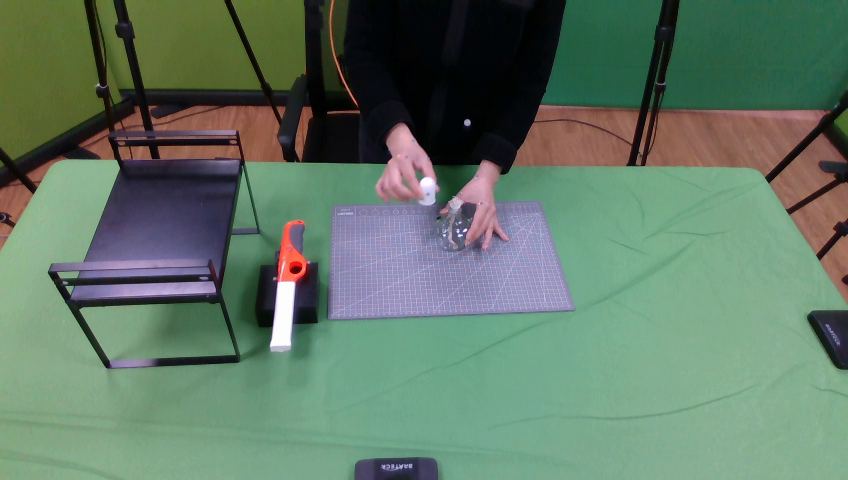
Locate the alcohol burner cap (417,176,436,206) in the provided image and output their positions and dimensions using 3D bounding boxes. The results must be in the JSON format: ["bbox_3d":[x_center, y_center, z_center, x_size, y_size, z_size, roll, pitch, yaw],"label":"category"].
[{"bbox_3d":[0.004,-0.087,1.045,0.034,0.048,0.033,0,40,0],"label":"alcohol burner cap"}]

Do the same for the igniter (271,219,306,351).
[{"bbox_3d":[-0.235,0.067,1.047,0.057,0.025,0.274,0,49,-6],"label":"igniter"}]

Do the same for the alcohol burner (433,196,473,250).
[{"bbox_3d":[0.057,-0.038,1.169,0.078,0.119,0.077,3,44,-3],"label":"alcohol burner"}]
